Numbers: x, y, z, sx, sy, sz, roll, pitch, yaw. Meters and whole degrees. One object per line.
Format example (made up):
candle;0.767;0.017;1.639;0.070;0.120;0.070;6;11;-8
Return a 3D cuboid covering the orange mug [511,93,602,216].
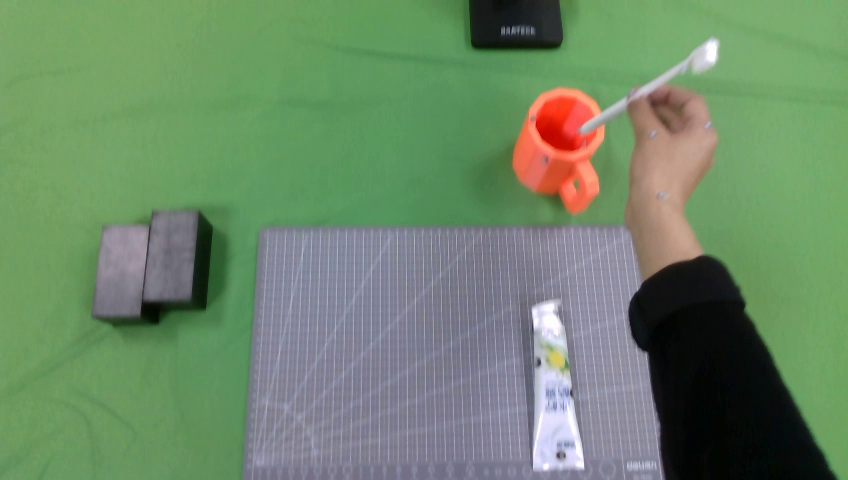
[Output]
orange mug;0.160;-0.094;0.706;0.083;0.101;0.125;-21;70;-9

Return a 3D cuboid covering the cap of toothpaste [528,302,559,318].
cap of toothpaste;0.135;0.079;0.678;0.037;0.037;0.011;-13;70;-7

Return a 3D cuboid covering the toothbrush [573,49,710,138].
toothbrush;0.192;-0.126;0.557;0.014;0.181;0.016;-2;80;-20

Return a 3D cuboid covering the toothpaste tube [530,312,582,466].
toothpaste tube;0.137;0.159;0.660;0.055;0.035;0.164;-4;76;4
